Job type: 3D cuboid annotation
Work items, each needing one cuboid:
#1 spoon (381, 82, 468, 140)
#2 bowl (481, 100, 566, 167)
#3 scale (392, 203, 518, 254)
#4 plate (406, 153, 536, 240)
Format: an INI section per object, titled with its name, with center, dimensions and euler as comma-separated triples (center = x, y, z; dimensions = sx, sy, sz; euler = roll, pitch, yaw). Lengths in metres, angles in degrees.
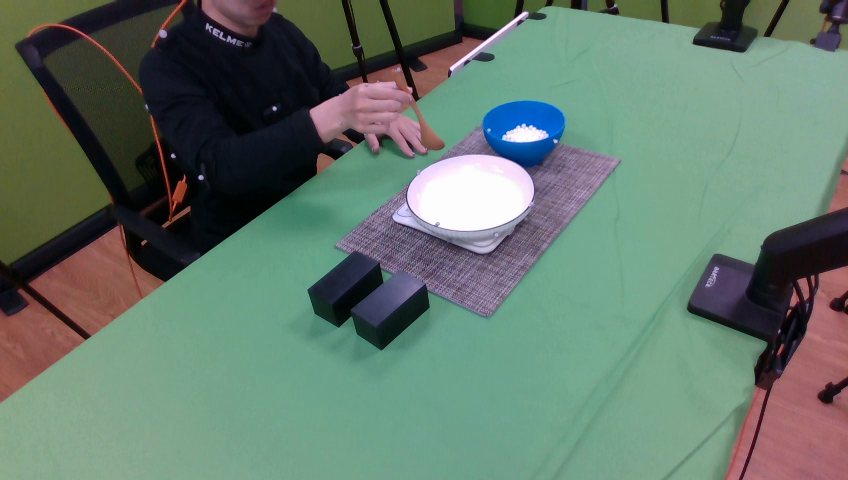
[spoon]
center = 0.003, -0.215, 1.014
dimensions = 0.041, 0.195, 0.021
euler = 18, 80, 53
[bowl]
center = 0.183, -0.187, 1.111
dimensions = 0.151, 0.077, 0.150
euler = -4, 41, 4
[scale]
center = 0.061, -0.051, 1.006
dimensions = 0.199, 0.032, 0.149
euler = 22, 48, 30
[plate]
center = 0.075, -0.067, 0.973
dimensions = 0.209, 0.038, 0.208
euler = -4, 41, 4
